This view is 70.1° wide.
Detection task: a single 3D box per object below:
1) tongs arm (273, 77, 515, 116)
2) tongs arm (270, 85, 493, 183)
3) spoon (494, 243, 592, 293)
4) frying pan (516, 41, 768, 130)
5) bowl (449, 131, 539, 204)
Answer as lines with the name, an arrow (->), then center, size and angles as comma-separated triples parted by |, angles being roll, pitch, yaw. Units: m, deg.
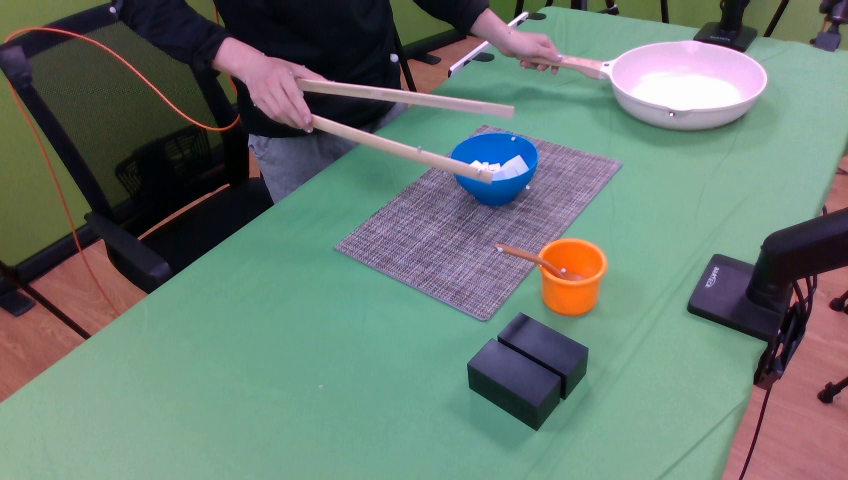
tongs arm -> -0.048, -0.227, 0.967 | 0.387, 0.028, 0.028 | 8, 62, 5
tongs arm -> -0.071, -0.165, 0.926 | 0.384, 0.026, 0.050 | 18, 60, 11
spoon -> 0.162, 0.034, 0.808 | 0.021, 0.195, 0.041 | -47, 40, 21
frying pan -> 0.423, -0.338, 1.236 | 0.486, 0.103, 0.307 | 18, 45, 15
bowl -> 0.121, -0.114, 1.034 | 0.151, 0.077, 0.150 | -4, 41, 4
